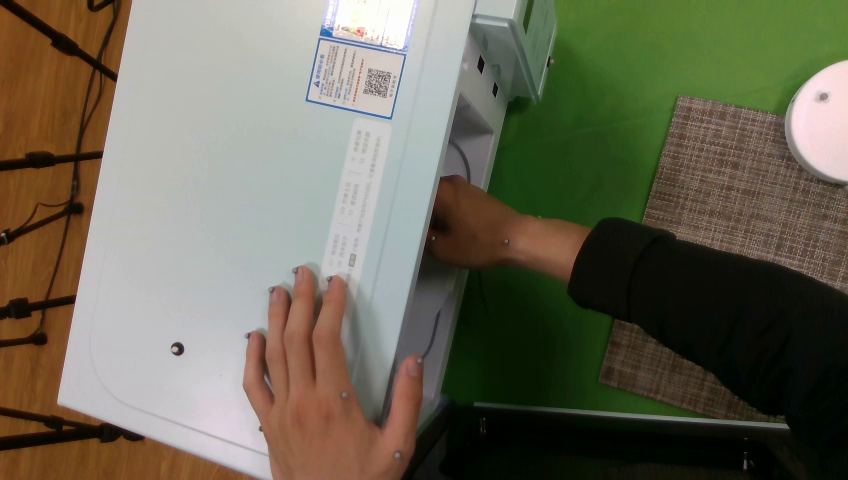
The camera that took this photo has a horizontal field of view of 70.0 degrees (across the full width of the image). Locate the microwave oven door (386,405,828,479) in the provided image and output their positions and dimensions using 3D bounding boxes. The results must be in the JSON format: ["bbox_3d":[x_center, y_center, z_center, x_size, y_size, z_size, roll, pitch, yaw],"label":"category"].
[{"bbox_3d":[0.159,0.193,0.495,0.355,0.244,0.039,-1,90,14],"label":"microwave oven door"}]

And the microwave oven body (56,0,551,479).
[{"bbox_3d":[-0.095,-0.045,0.562,0.325,0.261,0.442,14,94,13],"label":"microwave oven body"}]

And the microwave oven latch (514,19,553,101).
[{"bbox_3d":[0.109,-0.183,0.608,0.030,0.029,0.079,14,95,13],"label":"microwave oven latch"}]

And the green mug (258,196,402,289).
[{"bbox_3d":[-0.084,0.003,0.584,0.125,0.105,0.092,2,93,11],"label":"green mug"}]

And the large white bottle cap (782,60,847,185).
[{"bbox_3d":[0.396,-0.109,0.560,0.114,0.018,0.114,0,90,14],"label":"large white bottle cap"}]
